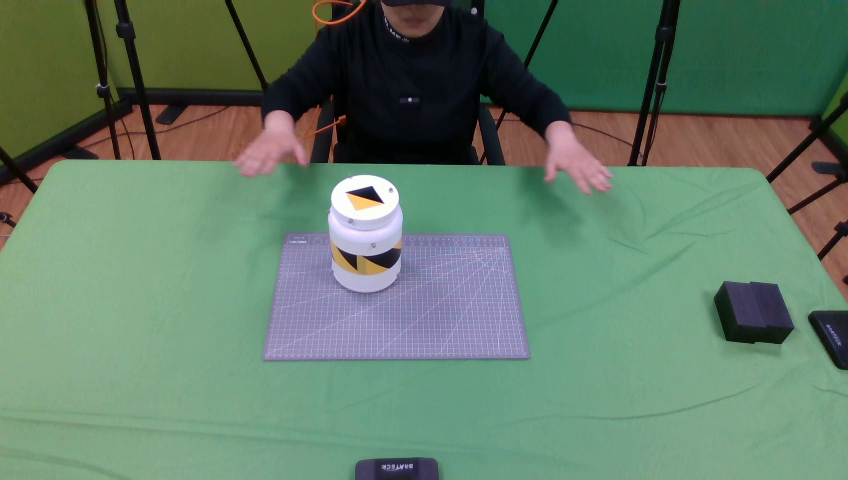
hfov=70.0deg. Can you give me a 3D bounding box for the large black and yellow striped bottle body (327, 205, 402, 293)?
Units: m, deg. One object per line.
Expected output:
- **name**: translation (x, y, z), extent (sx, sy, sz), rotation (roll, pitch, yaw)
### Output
- **large black and yellow striped bottle body**: translation (-0.105, -0.009, 1.083), extent (0.131, 0.185, 0.130), rotation (2, 46, -2)

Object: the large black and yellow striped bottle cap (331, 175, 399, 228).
- **large black and yellow striped bottle cap**: translation (-0.099, -0.067, 1.022), extent (0.115, 0.019, 0.114), rotation (2, 47, -2)
